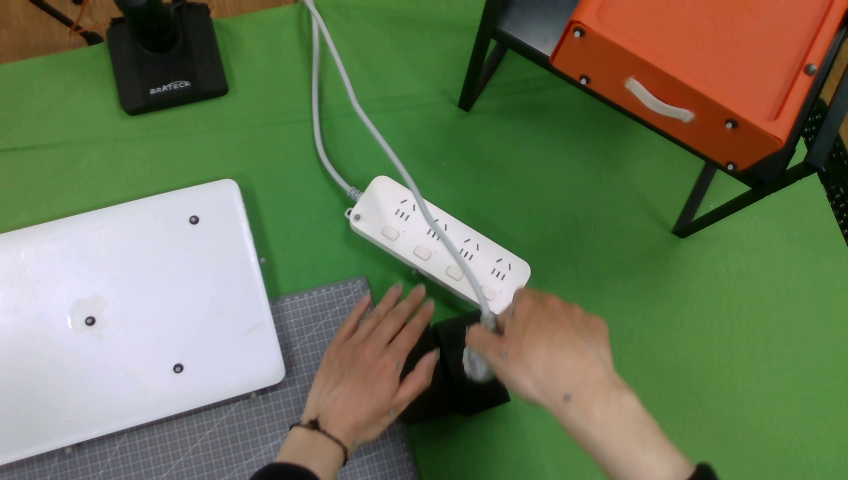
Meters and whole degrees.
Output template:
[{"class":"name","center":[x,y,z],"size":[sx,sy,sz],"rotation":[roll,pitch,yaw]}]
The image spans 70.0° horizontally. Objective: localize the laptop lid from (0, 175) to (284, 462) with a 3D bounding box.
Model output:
[{"class":"laptop lid","center":[-0.346,0.081,0.631],"size":[0.357,0.013,0.240],"rotation":[-14,81,-8]}]

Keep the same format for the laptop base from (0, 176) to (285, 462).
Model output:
[{"class":"laptop base","center":[-0.347,0.082,0.643],"size":[0.355,0.023,0.234],"rotation":[-16,82,-8]}]

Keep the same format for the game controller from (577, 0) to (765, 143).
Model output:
[{"class":"game controller","center":[0.227,-0.166,0.544],"size":[0.155,0.052,0.097],"rotation":[34,81,5]}]

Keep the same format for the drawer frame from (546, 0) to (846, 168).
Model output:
[{"class":"drawer frame","center":[0.249,-0.208,0.540],"size":[0.201,0.083,0.213],"rotation":[30,77,2]}]

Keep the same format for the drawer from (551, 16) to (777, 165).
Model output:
[{"class":"drawer","center":[0.250,-0.205,0.541],"size":[0.194,0.073,0.211],"rotation":[31,77,2]}]

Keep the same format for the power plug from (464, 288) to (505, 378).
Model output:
[{"class":"power plug","center":[0.058,0.086,0.537],"size":[0.035,0.053,0.072],"rotation":[23,62,-5]}]

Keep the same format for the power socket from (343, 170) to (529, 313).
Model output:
[{"class":"power socket","center":[0.016,0.002,0.684],"size":[0.226,0.033,0.072],"rotation":[32,77,3]}]
